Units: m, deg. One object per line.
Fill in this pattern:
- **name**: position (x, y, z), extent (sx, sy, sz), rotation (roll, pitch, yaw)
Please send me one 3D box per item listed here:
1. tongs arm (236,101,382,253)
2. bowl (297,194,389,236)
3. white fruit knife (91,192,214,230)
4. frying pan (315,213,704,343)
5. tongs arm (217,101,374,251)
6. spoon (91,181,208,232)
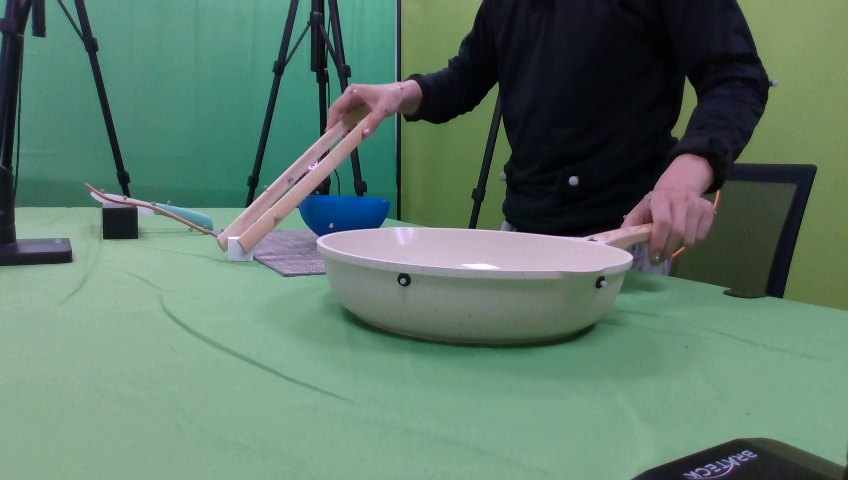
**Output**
- **tongs arm**: position (-0.159, -0.111, 0.924), extent (0.028, 0.028, 0.388), rotation (-1, 38, 35)
- **bowl**: position (-0.132, -0.032, 0.980), extent (0.151, 0.077, 0.151), rotation (2, 7, 0)
- **white fruit knife**: position (-0.477, -0.055, 1.077), extent (0.208, 0.027, 0.016), rotation (15, -5, -30)
- **frying pan**: position (0.133, 0.014, 0.629), extent (0.490, 0.102, 0.305), rotation (-11, 14, -29)
- **tongs arm**: position (-0.181, -0.113, 0.939), extent (0.050, 0.026, 0.385), rotation (0, 38, 30)
- **spoon**: position (-0.461, -0.053, 1.023), extent (0.195, 0.021, 0.041), rotation (22, 25, -24)
